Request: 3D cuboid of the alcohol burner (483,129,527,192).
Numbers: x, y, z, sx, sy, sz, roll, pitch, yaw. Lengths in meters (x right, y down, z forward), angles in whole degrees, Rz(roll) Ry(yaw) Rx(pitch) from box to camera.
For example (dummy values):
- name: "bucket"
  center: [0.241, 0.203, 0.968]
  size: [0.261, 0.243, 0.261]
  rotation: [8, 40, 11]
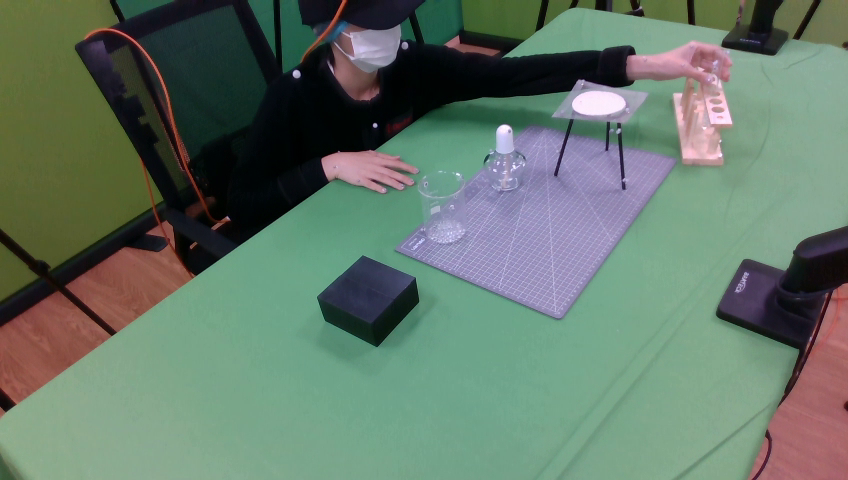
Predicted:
- name: "alcohol burner"
  center: [0.141, -0.144, 1.050]
  size: [0.078, 0.119, 0.077]
  rotation: [-4, 42, 4]

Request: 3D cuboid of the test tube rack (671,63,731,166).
- name: "test tube rack"
  center: [0.513, -0.241, 1.132]
  size: [0.066, 0.085, 0.242]
  rotation: [4, 41, 14]

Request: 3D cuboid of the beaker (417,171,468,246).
- name: "beaker"
  center: [0.034, -0.049, 0.965]
  size: [0.084, 0.101, 0.073]
  rotation: [-32, 45, -27]

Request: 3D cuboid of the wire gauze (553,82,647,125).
- name: "wire gauze"
  center: [0.293, -0.225, 1.003]
  size: [0.120, 0.011, 0.125]
  rotation: [17, 45, 27]

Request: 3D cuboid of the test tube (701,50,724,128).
- name: "test tube"
  center: [0.517, -0.268, 1.085]
  size: [0.017, 0.151, 0.017]
  rotation: [-5, 41, 5]

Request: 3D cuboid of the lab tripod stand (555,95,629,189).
- name: "lab tripod stand"
  center: [0.301, -0.174, 1.045]
  size: [0.148, 0.132, 0.147]
  rotation: [-5, 38, 5]

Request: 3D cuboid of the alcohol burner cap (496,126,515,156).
- name: "alcohol burner cap"
  center: [0.138, -0.171, 1.028]
  size: [0.034, 0.048, 0.033]
  rotation: [-5, 37, 5]
